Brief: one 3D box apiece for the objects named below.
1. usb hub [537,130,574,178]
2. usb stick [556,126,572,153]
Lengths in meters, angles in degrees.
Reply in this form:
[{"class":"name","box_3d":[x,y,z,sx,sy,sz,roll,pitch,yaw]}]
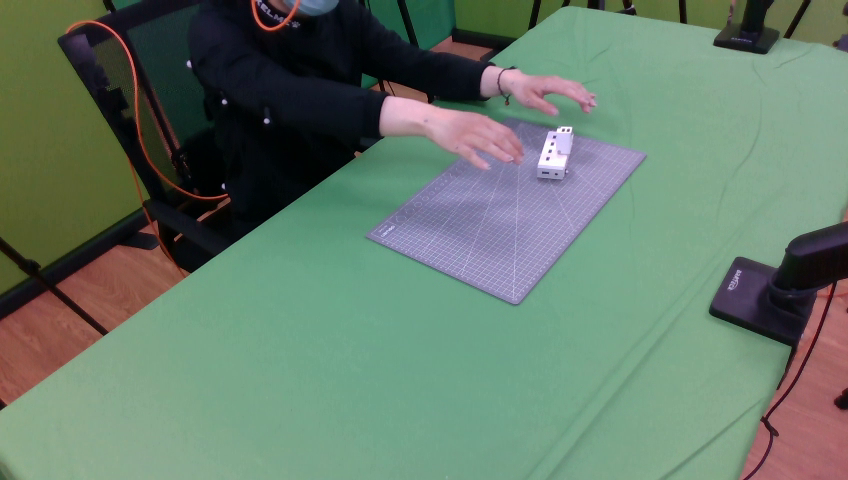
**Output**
[{"class":"usb hub","box_3d":[0.243,-0.159,1.112,0.049,0.025,0.125,8,43,17]},{"class":"usb stick","box_3d":[0.251,-0.173,1.083,0.027,0.059,0.021,8,44,15]}]
